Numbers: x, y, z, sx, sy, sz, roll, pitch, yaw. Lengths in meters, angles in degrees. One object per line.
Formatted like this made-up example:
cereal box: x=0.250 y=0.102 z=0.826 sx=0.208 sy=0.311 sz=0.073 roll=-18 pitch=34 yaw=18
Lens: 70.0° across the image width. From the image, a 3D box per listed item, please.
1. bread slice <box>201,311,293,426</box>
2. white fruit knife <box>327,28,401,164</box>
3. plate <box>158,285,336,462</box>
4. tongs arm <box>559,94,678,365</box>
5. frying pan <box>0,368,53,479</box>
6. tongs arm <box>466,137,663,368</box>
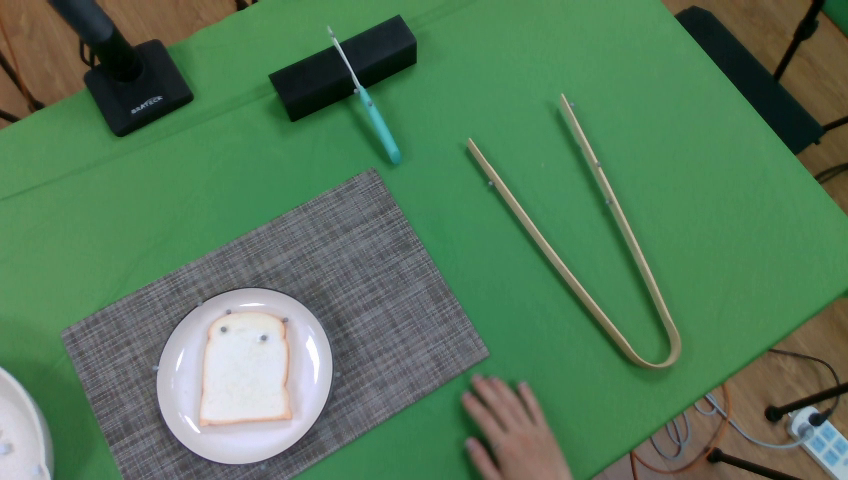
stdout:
bread slice: x=-0.215 y=0.154 z=0.734 sx=0.107 sy=0.018 sz=0.133 roll=-6 pitch=74 yaw=-4
white fruit knife: x=-0.085 y=-0.198 z=0.828 sx=0.016 sy=0.027 sz=0.207 roll=-28 pitch=90 yaw=-11
plate: x=-0.209 y=0.159 z=0.732 sx=0.208 sy=0.039 sz=0.206 roll=0 pitch=73 yaw=-1
tongs arm: x=0.244 y=-0.022 z=0.804 sx=0.051 sy=0.026 sz=0.382 roll=-21 pitch=75 yaw=-7
frying pan: x=-0.557 y=0.364 z=0.627 sx=0.307 sy=0.103 sz=0.484 roll=2 pitch=64 yaw=0
tongs arm: x=0.172 y=0.013 z=0.796 sx=0.028 sy=0.028 sz=0.385 roll=-33 pitch=76 yaw=-13
